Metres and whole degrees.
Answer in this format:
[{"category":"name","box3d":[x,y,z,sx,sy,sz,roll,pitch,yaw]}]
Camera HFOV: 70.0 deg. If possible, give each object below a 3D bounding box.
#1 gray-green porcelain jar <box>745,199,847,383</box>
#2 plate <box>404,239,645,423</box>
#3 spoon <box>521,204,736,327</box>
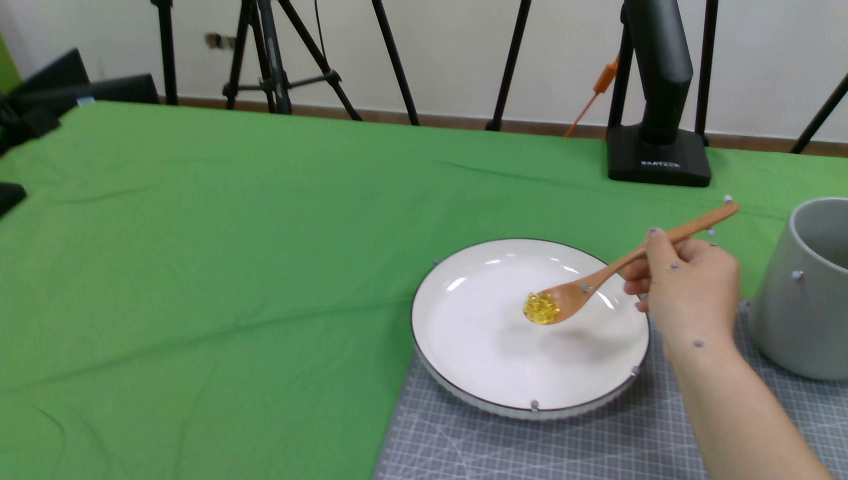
[{"category":"gray-green porcelain jar","box3d":[0.335,0.047,0.503,0.106,0.127,0.105,-1,40,1]},{"category":"plate","box3d":[0.087,0.079,0.543,0.208,0.039,0.205,-1,40,1]},{"category":"spoon","box3d":[0.170,0.021,0.508,0.194,0.022,0.041,-33,34,15]}]
